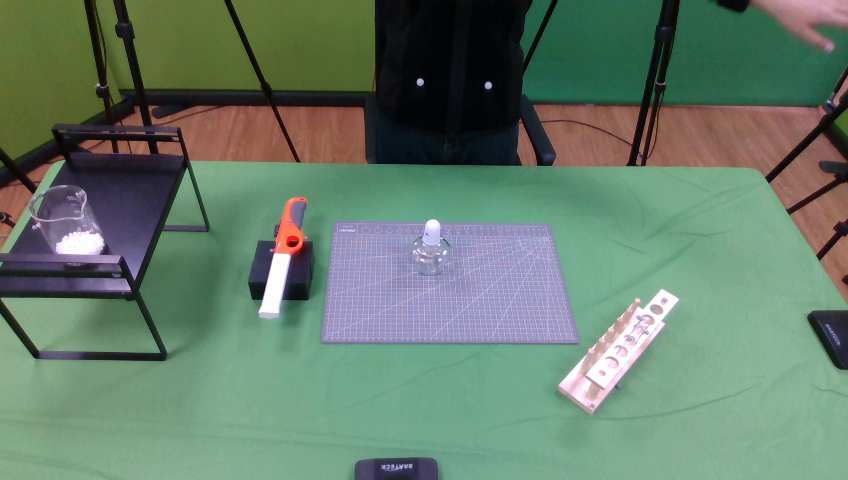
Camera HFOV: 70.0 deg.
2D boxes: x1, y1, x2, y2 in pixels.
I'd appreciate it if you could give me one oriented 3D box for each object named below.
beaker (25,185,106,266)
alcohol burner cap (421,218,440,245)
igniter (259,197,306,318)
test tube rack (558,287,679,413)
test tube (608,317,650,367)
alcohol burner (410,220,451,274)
[{"bbox_3d":[-0.507,-0.017,0.871,0.084,0.101,0.074,23,49,17],"label":"beaker"},{"bbox_3d":[0.014,-0.018,1.095,0.034,0.048,0.033,5,44,-5],"label":"alcohol burner cap"},{"bbox_3d":[-0.252,0.021,1.088,0.057,0.025,0.275,4,48,-2],"label":"igniter"},{"bbox_3d":[0.326,0.170,1.009,0.066,0.085,0.242,36,54,27],"label":"test tube rack"},{"bbox_3d":[0.314,0.168,0.942,0.017,0.151,0.017,5,48,-6],"label":"test tube"},{"bbox_3d":[0.013,0.007,1.120,0.078,0.120,0.077,1,48,-1],"label":"alcohol burner"}]
